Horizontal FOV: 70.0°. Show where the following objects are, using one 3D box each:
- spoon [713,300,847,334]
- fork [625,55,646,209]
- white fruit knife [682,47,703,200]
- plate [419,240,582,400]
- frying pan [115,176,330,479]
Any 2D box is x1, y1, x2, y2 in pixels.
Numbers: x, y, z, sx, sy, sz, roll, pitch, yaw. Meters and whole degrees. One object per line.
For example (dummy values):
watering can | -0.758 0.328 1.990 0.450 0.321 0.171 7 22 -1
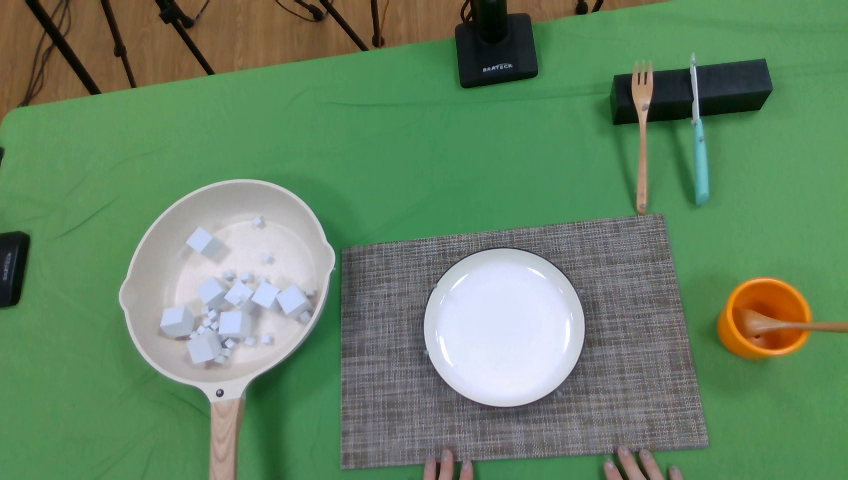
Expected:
spoon | 0.415 0.088 0.677 0.193 0.022 0.041 -6 68 51
fork | 0.287 -0.146 0.822 0.028 0.018 0.207 0 89 2
white fruit knife | 0.357 -0.158 0.814 0.016 0.027 0.207 -3 86 5
plate | 0.097 0.103 0.784 0.207 0.039 0.206 -3 71 9
frying pan | -0.261 0.144 0.796 0.306 0.104 0.483 -10 61 7
